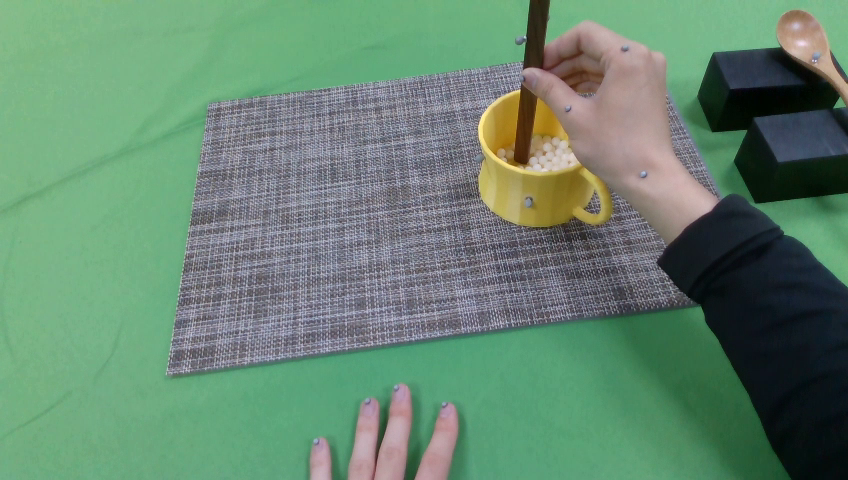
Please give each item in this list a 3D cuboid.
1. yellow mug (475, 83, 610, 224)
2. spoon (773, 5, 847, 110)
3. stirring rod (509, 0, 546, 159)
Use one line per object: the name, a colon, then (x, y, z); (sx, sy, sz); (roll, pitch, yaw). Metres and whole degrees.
yellow mug: (0.102, -0.063, 0.494); (0.100, 0.064, 0.129); (-34, 59, -18)
spoon: (0.333, -0.121, 0.486); (0.041, 0.022, 0.192); (-7, 57, 0)
stirring rod: (0.077, -0.121, 0.460); (0.014, 0.177, 0.006); (22, 61, 16)
